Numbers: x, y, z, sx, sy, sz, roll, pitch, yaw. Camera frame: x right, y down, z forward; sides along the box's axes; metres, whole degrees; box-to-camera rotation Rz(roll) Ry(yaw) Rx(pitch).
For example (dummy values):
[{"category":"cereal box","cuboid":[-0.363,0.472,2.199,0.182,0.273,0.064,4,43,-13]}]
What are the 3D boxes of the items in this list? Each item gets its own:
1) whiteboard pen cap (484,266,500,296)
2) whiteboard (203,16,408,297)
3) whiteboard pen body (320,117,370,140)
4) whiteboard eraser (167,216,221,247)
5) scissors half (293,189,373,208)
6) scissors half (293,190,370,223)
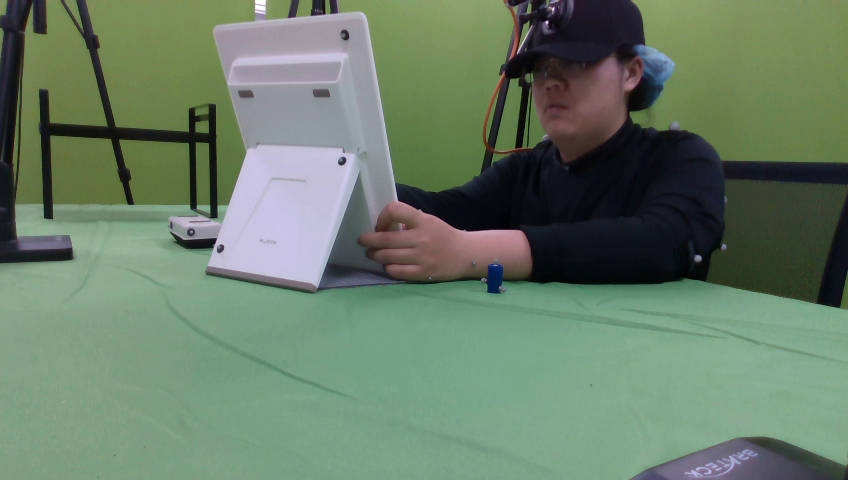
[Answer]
[{"category":"whiteboard pen cap","cuboid":[0.075,0.046,0.668,0.018,0.033,0.018,3,7,0]},{"category":"whiteboard","cuboid":[-0.166,-0.072,0.669,0.216,0.305,0.144,8,30,30]},{"category":"whiteboard pen body","cuboid":[-0.102,-0.144,0.782,0.017,0.017,0.141,5,19,16]},{"category":"whiteboard eraser","cuboid":[-0.350,-0.013,0.920,0.056,0.042,0.112,0,7,-35]},{"category":"scissors half","cuboid":[-0.201,-0.096,1.332,0.175,0.040,0.013,5,18,-4]},{"category":"scissors half","cuboid":[-0.205,-0.077,1.338,0.175,0.040,0.013,22,11,-8]}]
